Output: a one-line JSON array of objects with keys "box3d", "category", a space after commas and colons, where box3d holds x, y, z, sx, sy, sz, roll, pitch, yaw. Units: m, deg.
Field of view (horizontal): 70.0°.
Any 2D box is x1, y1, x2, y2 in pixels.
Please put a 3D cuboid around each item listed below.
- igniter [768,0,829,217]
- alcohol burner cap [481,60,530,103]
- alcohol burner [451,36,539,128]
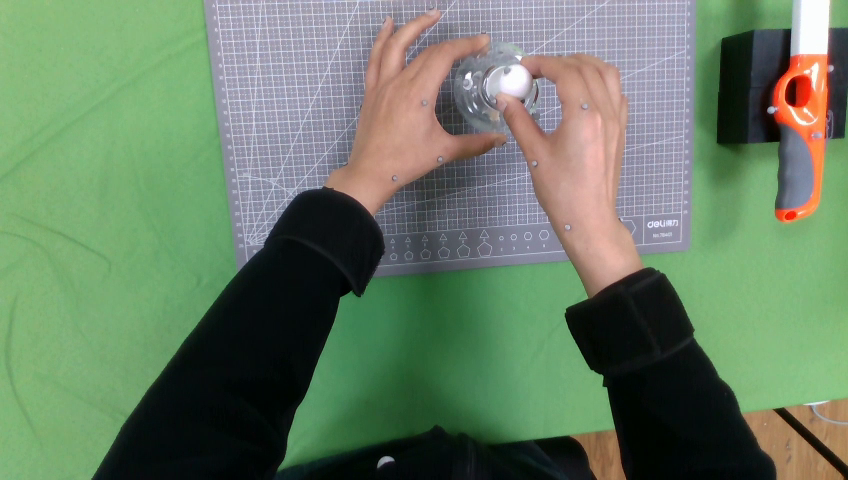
[{"box3d": [0.340, -0.159, 0.546, 0.057, 0.025, 0.277, -2, 98, -7], "category": "igniter"}, {"box3d": [0.067, -0.127, 0.482, 0.034, 0.047, 0.034, -1, 100, -8], "category": "alcohol burner cap"}, {"box3d": [0.064, -0.134, 0.512, 0.078, 0.118, 0.078, -2, 101, -9], "category": "alcohol burner"}]
